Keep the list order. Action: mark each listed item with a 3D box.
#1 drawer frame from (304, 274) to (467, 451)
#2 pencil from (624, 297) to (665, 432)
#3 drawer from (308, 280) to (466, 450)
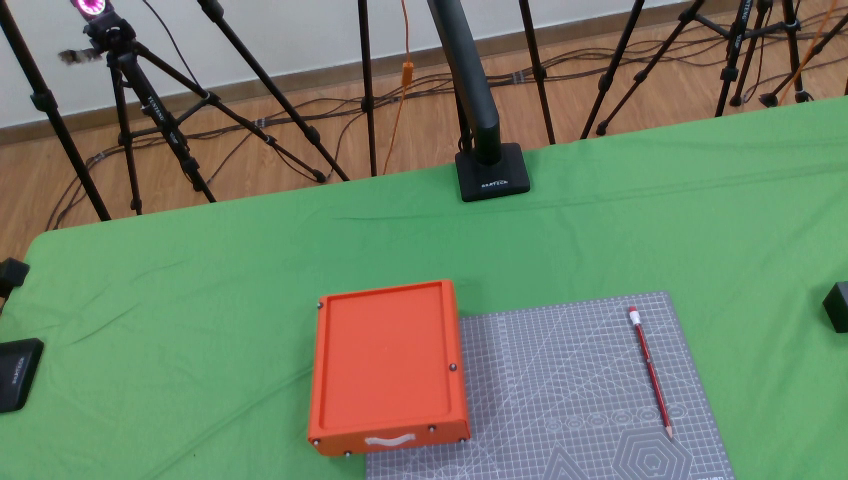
[{"bbox_3d":[-0.053,0.166,0.831,0.201,0.083,0.211,-9,52,5],"label":"drawer frame"},{"bbox_3d":[0.298,0.163,0.817,0.012,0.012,0.192,-8,55,5],"label":"pencil"},{"bbox_3d":[-0.051,0.168,0.830,0.194,0.074,0.209,-9,52,5],"label":"drawer"}]
